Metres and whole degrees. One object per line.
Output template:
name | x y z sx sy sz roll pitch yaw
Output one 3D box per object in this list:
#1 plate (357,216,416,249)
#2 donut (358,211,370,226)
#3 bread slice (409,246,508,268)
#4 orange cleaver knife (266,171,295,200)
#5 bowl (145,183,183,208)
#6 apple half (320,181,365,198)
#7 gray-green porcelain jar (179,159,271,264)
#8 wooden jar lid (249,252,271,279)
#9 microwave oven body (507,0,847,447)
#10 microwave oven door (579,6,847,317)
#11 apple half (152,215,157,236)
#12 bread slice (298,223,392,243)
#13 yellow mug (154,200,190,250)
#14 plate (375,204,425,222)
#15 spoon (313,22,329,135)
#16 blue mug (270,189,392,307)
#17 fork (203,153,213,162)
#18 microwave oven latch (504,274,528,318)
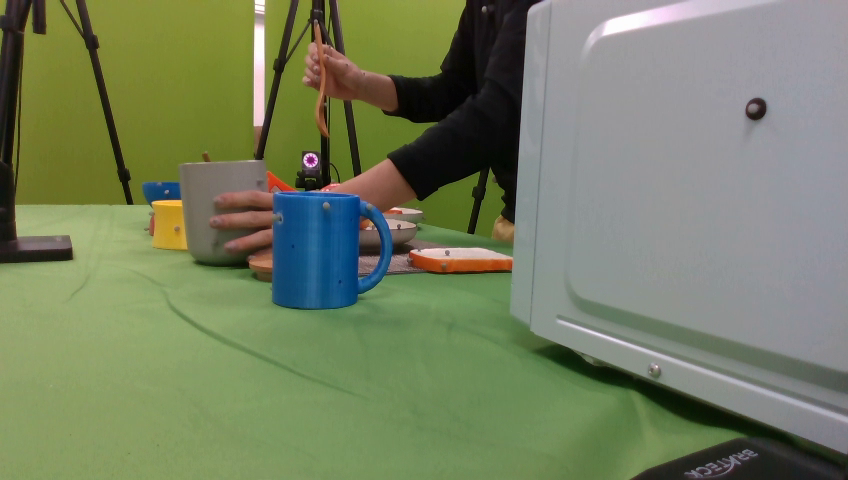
plate | -0.116 -0.014 0.967 0.208 0.039 0.207 2 7 0
donut | -0.132 -0.042 0.959 0.099 0.048 0.099 1 7 0
bread slice | 0.048 0.021 0.816 0.132 0.019 0.104 -1 6 -23
orange cleaver knife | -0.283 -0.086 1.343 0.212 0.077 0.012 24 -16 -41
bowl | -0.459 -0.069 1.175 0.151 0.077 0.151 2 7 0
apple half | -0.130 -0.077 0.952 0.081 0.033 0.081 4 14 -1
gray-green porcelain jar | -0.252 -0.037 0.779 0.106 0.126 0.106 -4 8 1
wooden jar lid | -0.148 0.028 0.708 0.108 0.020 0.108 -1 10 0
microwave oven body | 0.331 -0.042 0.425 0.444 0.260 0.324 -2 8 -31
microwave oven door | 0.294 -0.067 0.570 0.358 0.243 0.039 -3 9 -31
apple half | -0.415 -0.034 1.017 0.081 0.053 0.074 1 10 -9
bread slice | -0.121 -0.013 0.970 0.106 0.018 0.135 9 11 41
yellow mug | -0.337 -0.023 0.899 0.130 0.064 0.100 8 9 34
plate | -0.102 -0.053 1.299 0.209 0.038 0.209 2 8 0
spoon | -0.174 -0.272 1.019 0.021 0.193 0.041 -2 -2 7
blue mug | -0.090 0.005 0.588 0.117 0.106 0.082 1 7 -11
fork | -0.480 -0.135 1.411 0.028 0.018 0.207 1 -34 0
microwave oven latch | 0.100 0.041 0.470 0.079 0.029 0.030 -1 7 -27
